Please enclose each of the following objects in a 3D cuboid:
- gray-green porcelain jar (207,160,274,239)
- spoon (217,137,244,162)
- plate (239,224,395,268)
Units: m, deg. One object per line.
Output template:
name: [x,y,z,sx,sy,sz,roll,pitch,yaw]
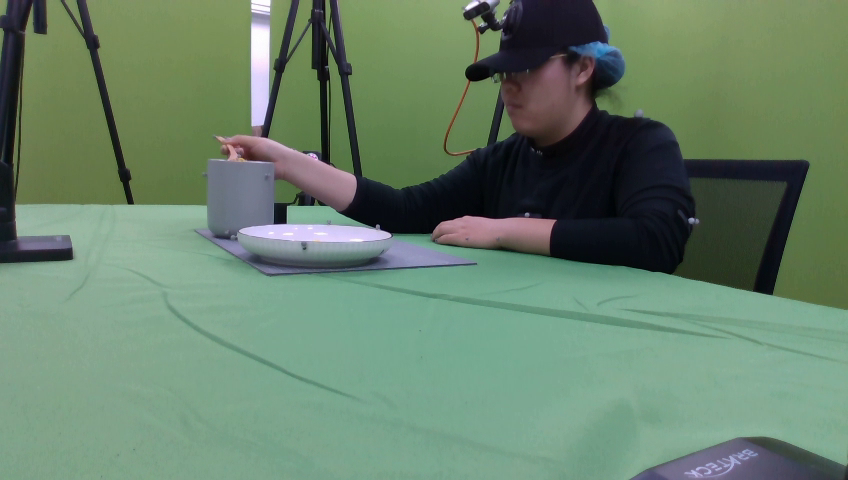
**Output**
gray-green porcelain jar: [-0.304,-0.068,1.003,0.106,0.126,0.106,3,7,0]
spoon: [-0.332,-0.152,1.043,0.042,0.021,0.193,5,24,-31]
plate: [-0.144,0.007,0.823,0.208,0.039,0.207,3,7,0]
